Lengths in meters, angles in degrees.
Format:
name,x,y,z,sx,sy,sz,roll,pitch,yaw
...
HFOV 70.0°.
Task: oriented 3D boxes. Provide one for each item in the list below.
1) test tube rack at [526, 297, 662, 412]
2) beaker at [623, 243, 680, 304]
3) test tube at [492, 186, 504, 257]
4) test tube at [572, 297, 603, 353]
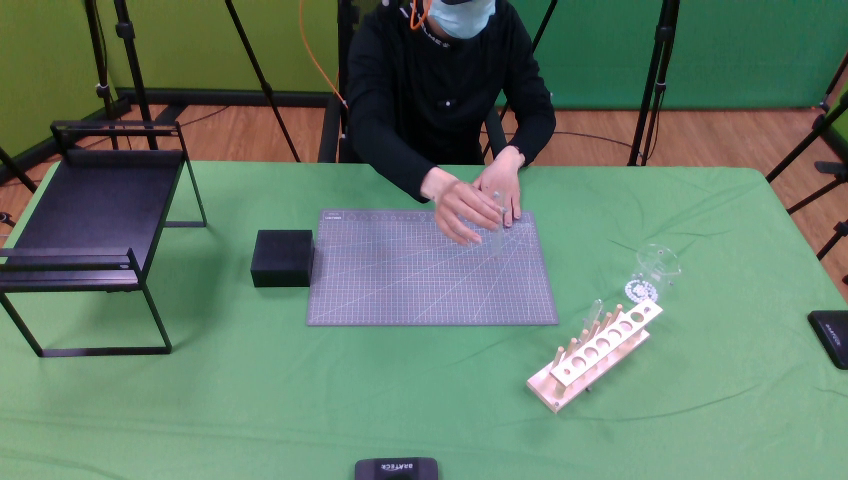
name,x,y,z,sx,sy,sz,roll,pitch,yaw
test tube rack,0.284,0.176,1.007,0.242,0.085,0.066,-29,54,-27
beaker,0.414,0.067,1.111,0.083,0.101,0.074,31,52,22
test tube,0.121,-0.027,0.994,0.017,0.151,0.017,-2,44,2
test tube,0.263,0.141,0.977,0.017,0.151,0.017,2,47,-2
